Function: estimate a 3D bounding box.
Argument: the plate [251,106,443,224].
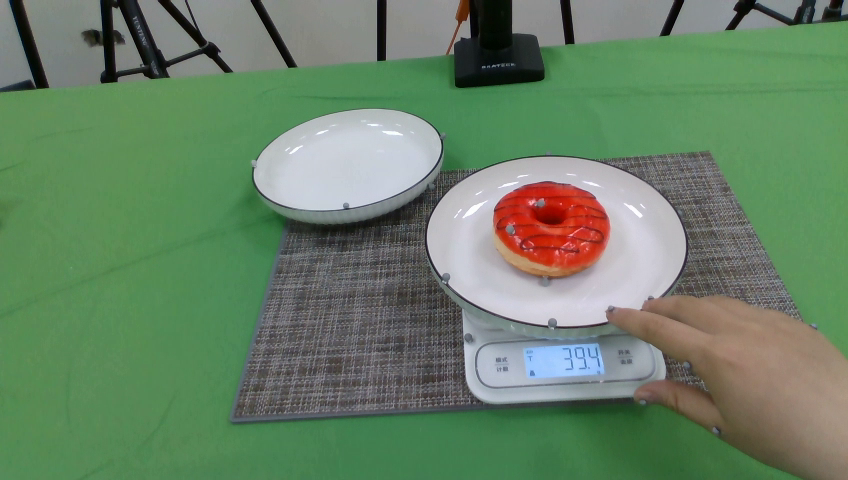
[{"bbox_3d":[-0.082,-0.082,0.666,0.209,0.038,0.207,-5,41,4],"label":"plate"}]

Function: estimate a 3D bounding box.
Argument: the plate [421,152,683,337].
[{"bbox_3d":[0.102,0.002,0.504,0.207,0.039,0.205,-3,43,4],"label":"plate"}]

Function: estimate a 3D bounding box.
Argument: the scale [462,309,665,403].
[{"bbox_3d":[0.105,0.042,0.509,0.148,0.032,0.199,-4,43,5],"label":"scale"}]

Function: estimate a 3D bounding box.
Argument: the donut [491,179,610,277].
[{"bbox_3d":[0.103,-0.010,0.499,0.099,0.049,0.098,-2,44,2],"label":"donut"}]
